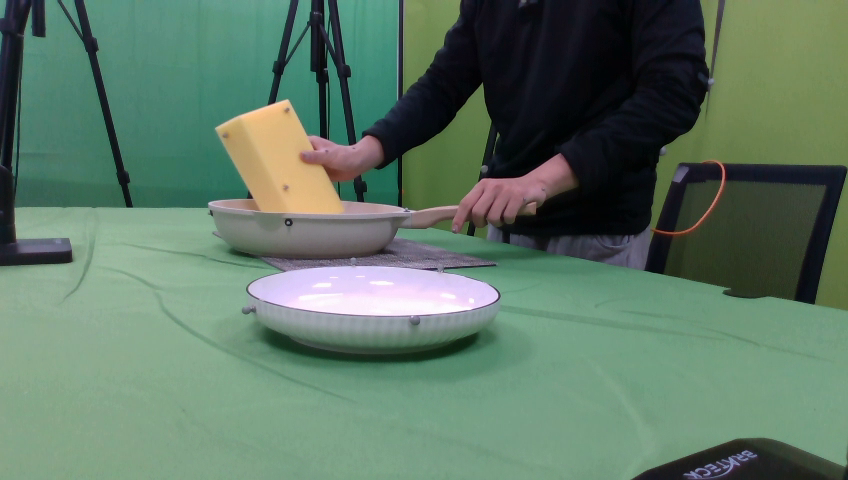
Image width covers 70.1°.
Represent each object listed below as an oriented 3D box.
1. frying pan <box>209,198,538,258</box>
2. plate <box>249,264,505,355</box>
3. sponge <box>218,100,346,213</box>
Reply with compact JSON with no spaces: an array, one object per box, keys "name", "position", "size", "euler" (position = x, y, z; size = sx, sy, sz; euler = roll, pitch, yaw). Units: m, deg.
[{"name":"frying pan","position":[-0.075,-0.033,0.912],"size":[0.487,0.102,0.307],"euler":[-5,7,12]},{"name":"plate","position":[-0.037,0.056,0.504],"size":[0.208,0.039,0.207],"euler":[2,7,0]},{"name":"sponge","position":[-0.226,-0.111,0.986],"size":[0.060,0.207,0.118],"euler":[-17,17,34]}]
